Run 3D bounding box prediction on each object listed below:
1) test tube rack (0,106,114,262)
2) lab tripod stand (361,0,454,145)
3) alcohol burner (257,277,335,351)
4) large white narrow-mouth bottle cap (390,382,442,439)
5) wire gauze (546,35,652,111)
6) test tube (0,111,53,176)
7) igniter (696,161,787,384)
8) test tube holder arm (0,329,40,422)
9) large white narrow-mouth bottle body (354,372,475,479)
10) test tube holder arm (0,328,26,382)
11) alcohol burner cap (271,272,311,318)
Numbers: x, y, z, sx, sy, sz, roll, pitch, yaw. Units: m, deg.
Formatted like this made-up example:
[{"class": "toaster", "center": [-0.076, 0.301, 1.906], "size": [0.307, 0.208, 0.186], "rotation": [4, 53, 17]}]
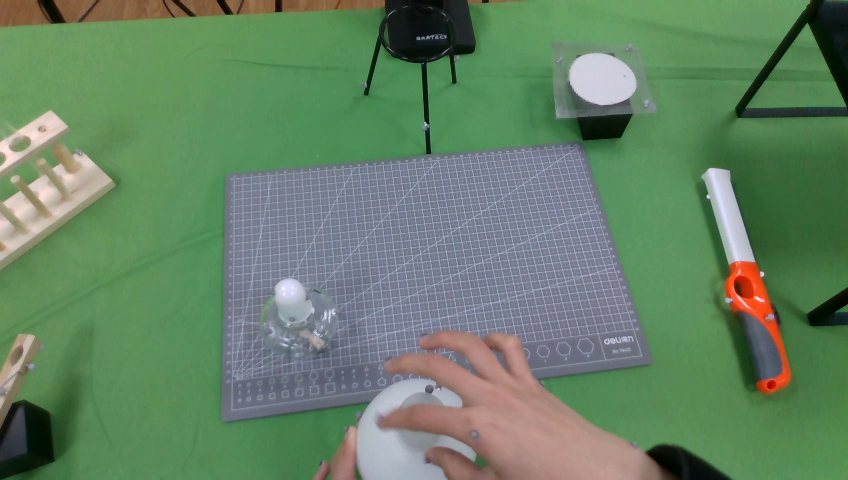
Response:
[{"class": "test tube rack", "center": [-0.474, -0.032, 0.653], "size": [0.066, 0.086, 0.242], "rotation": [39, 67, 16]}, {"class": "lab tripod stand", "center": [-0.011, -0.212, 0.741], "size": [0.148, 0.132, 0.147], "rotation": [2, 63, -3]}, {"class": "alcohol burner", "center": [-0.128, 0.066, 0.600], "size": [0.078, 0.120, 0.077], "rotation": [2, 61, -3]}, {"class": "large white narrow-mouth bottle cap", "center": [-0.005, 0.120, 0.427], "size": [0.038, 0.024, 0.037], "rotation": [1, 62, -2]}, {"class": "wire gauze", "center": [0.218, -0.213, 0.767], "size": [0.121, 0.011, 0.124], "rotation": [1, 62, -2]}, {"class": "test tube", "center": [-0.440, -0.115, 0.642], "size": [0.017, 0.151, 0.017], "rotation": [0, 61, 1]}, {"class": "igniter", "center": [0.360, 0.028, 0.694], "size": [0.057, 0.025, 0.274], "rotation": [4, 62, -12]}, {"class": "test tube holder arm", "center": [-0.389, 0.165, 0.541], "size": [0.013, 0.015, 0.177], "rotation": [5, 63, 6]}, {"class": "large white narrow-mouth bottle body", "center": [-0.008, 0.167, 0.512], "size": [0.102, 0.196, 0.101], "rotation": [1, 62, -1]}, {"class": "test tube holder arm", "center": [-0.389, 0.125, 0.562], "size": [0.010, 0.015, 0.087], "rotation": [4, 63, 6]}, {"class": "alcohol burner cap", "center": [-0.127, 0.050, 0.568], "size": [0.034, 0.048, 0.033], "rotation": [0, 57, 1]}]
